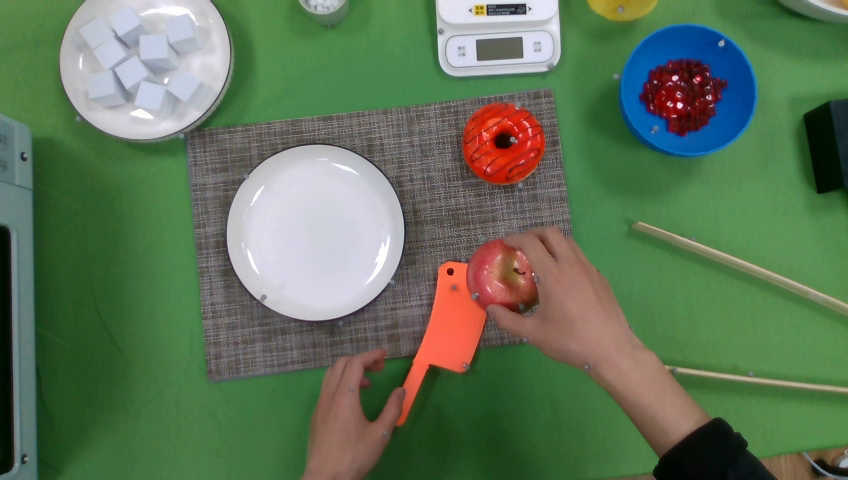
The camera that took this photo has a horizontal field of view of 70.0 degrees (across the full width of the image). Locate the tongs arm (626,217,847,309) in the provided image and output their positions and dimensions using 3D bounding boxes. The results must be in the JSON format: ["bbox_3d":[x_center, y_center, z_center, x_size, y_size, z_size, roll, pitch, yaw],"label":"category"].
[{"bbox_3d":[0.418,0.053,0.704,0.387,0.028,0.028,23,78,3],"label":"tongs arm"}]

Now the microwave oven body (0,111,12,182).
[{"bbox_3d":[-0.622,0.072,0.596,0.326,0.260,0.440,-4,85,0],"label":"microwave oven body"}]

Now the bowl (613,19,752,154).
[{"bbox_3d":[0.286,-0.166,0.702,0.151,0.077,0.151,0,86,1],"label":"bowl"}]

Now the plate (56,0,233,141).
[{"bbox_3d":[-0.331,-0.218,0.733,0.208,0.039,0.207,0,85,1],"label":"plate"}]

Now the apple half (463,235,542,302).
[{"bbox_3d":[0.086,0.024,0.622,0.081,0.075,0.053,29,76,1],"label":"apple half"}]

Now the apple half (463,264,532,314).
[{"bbox_3d":[0.067,0.057,0.613,0.081,0.081,0.032,29,76,4],"label":"apple half"}]

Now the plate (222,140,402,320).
[{"bbox_3d":[-0.128,-0.012,0.709,0.209,0.038,0.208,0,85,1],"label":"plate"}]

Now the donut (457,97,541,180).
[{"bbox_3d":[0.088,-0.119,0.713,0.099,0.048,0.099,0,86,3],"label":"donut"}]

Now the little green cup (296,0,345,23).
[{"bbox_3d":[-0.124,-0.297,0.738,0.061,0.039,0.061,0,84,1],"label":"little green cup"}]

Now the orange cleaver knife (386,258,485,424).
[{"bbox_3d":[0.019,0.118,0.703,0.077,0.012,0.211,23,82,-5],"label":"orange cleaver knife"}]

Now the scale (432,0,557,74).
[{"bbox_3d":[0.084,-0.307,0.739,0.149,0.031,0.200,-3,85,1],"label":"scale"}]

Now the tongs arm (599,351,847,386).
[{"bbox_3d":[0.397,0.137,0.694,0.385,0.026,0.050,8,81,1],"label":"tongs arm"}]

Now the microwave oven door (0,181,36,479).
[{"bbox_3d":[-0.473,0.103,0.586,0.039,0.244,0.355,-5,85,1],"label":"microwave oven door"}]

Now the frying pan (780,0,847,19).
[{"bbox_3d":[0.559,-0.313,0.698,0.307,0.103,0.485,-34,77,-1],"label":"frying pan"}]

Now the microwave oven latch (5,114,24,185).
[{"bbox_3d":[-0.486,-0.105,0.706,0.030,0.029,0.079,-2,86,0],"label":"microwave oven latch"}]

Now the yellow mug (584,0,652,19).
[{"bbox_3d":[0.229,-0.338,0.723,0.100,0.064,0.130,-39,85,-2],"label":"yellow mug"}]

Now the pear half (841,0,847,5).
[{"bbox_3d":[0.520,-0.307,0.691,0.076,0.110,0.056,30,86,7],"label":"pear half"}]
